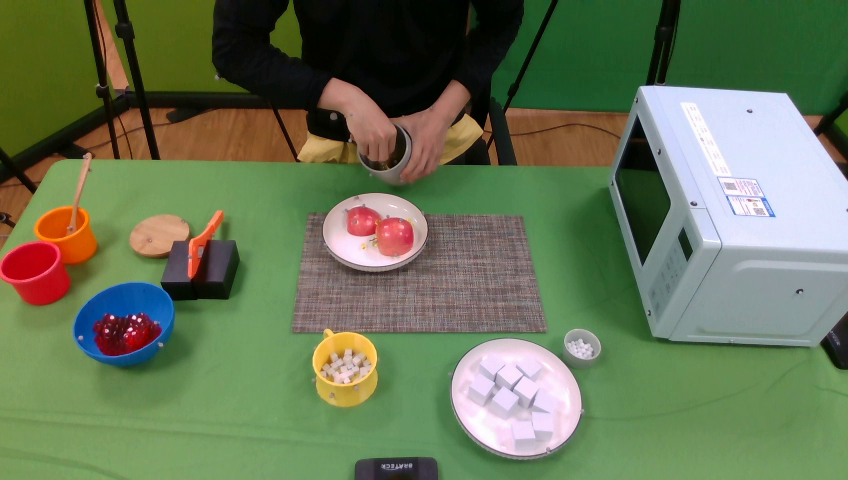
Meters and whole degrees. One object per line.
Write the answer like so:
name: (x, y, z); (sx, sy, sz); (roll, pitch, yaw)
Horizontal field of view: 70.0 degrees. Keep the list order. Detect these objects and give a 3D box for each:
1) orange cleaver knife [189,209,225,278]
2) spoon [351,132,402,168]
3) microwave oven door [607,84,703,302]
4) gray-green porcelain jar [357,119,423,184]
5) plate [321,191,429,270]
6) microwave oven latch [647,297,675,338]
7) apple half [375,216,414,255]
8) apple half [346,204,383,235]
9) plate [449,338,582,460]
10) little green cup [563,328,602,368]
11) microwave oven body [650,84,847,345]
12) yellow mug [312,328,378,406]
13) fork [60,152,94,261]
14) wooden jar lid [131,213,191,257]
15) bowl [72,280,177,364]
orange cleaver knife: (-0.401, 0.002, 1.122); (0.012, 0.077, 0.210); (3, 22, -4)
spoon: (-0.083, -0.169, 1.179); (0.041, 0.194, 0.021); (-47, 63, 9)
microwave oven door: (0.424, -0.096, 1.138); (0.039, 0.245, 0.353); (3, 46, -1)
gray-green porcelain jar: (-0.064, -0.173, 1.221); (0.106, 0.127, 0.105); (-2, 81, 15)
plate: (-0.094, -0.015, 1.185); (0.209, 0.038, 0.208); (2, 46, -2)
microwave oven latch: (0.413, 0.133, 1.060); (0.030, 0.029, 0.078); (5, 46, 2)
apple half: (-0.056, -0.017, 1.169); (0.075, 0.053, 0.080); (0, 46, -7)
apple half: (-0.119, -0.049, 1.207); (0.081, 0.033, 0.081); (2, 50, -2)
plate: (0.141, 0.251, 0.956); (0.208, 0.039, 0.206); (2, 46, -2)
little green cup: (0.265, 0.184, 1.025); (0.061, 0.039, 0.061); (1, 46, -1)
microwave oven body: (0.569, -0.054, 1.116); (0.326, 0.261, 0.439); (2, 46, -1)
yellow mug: (-0.132, 0.193, 0.971); (0.100, 0.064, 0.130); (-22, 51, -22)
fork: (-0.638, -0.063, 1.119); (0.028, 0.018, 0.207); (12, 90, 8)
wooden jar lid: (-0.504, -0.008, 1.167); (0.108, 0.021, 0.107); (3, 46, -3)
bowl: (-0.473, 0.147, 0.982); (0.151, 0.077, 0.150); (2, 46, -2)
